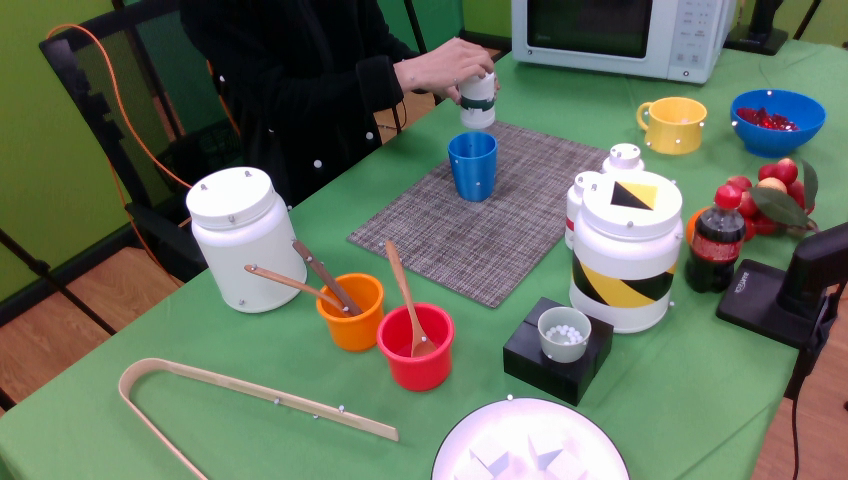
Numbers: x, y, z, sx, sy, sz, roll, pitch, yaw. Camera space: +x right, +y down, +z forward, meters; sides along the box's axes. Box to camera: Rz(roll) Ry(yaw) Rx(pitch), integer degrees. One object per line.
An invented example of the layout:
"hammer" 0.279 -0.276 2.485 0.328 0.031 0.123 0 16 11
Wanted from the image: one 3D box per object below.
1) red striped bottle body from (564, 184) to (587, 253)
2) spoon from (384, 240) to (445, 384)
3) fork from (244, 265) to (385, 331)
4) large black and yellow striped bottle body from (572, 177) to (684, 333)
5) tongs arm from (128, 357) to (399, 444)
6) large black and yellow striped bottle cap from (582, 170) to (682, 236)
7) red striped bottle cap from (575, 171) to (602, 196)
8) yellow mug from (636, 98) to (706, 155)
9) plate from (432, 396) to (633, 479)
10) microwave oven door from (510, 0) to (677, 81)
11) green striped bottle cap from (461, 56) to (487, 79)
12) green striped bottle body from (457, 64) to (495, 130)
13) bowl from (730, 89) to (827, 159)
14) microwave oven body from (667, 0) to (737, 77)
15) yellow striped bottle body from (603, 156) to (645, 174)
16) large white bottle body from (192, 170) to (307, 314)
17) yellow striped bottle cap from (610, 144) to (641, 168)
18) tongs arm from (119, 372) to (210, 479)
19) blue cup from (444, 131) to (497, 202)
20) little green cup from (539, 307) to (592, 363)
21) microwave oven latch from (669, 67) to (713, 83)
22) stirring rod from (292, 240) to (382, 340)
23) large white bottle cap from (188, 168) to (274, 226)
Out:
"red striped bottle body" 0.246 -0.041 0.910 0.063 0.120 0.062 -2 38 2
"spoon" -0.016 0.090 0.776 0.042 0.021 0.193 -17 85 -10
"fork" -0.142 0.078 0.806 0.209 0.018 0.028 30 32 -24
"large black and yellow striped bottle body" 0.262 0.017 0.788 0.131 0.185 0.130 -5 40 4
"tongs arm" -0.213 0.205 0.755 0.382 0.026 0.051 12 46 23
"large black and yellow striped bottle cap" 0.252 -0.048 0.735 0.115 0.019 0.114 -3 40 3
"red striped bottle cap" 0.242 -0.081 0.876 0.044 0.018 0.044 -5 44 5
"yellow mug" 0.453 -0.217 1.129 0.100 0.064 0.129 -34 46 -27
"plate" 0.112 0.261 0.634 0.209 0.038 0.208 -5 40 4
"microwave oven door" 0.354 -0.478 1.290 0.353 0.245 0.039 15 45 25
"green striped bottle cap" 0.085 -0.292 1.021 0.044 0.020 0.044 2 48 -2
"green striped bottle body" 0.091 -0.258 1.058 0.063 0.120 0.063 -4 47 5
"bowl" 0.615 -0.197 1.069 0.151 0.077 0.150 -5 40 5
"microwave oven body" 0.462 -0.552 1.369 0.439 0.261 0.326 15 45 26
"yellow striped bottle body" 0.313 -0.089 0.956 0.063 0.121 0.062 -5 39 4
"large white bottle body" -0.256 0.003 0.885 0.130 0.185 0.130 -4 40 4
"yellow striped bottle cap" 0.307 -0.128 0.923 0.044 0.019 0.044 -6 40 5
"tongs arm" -0.258 0.257 0.700 0.384 0.028 0.028 24 55 34
"blue cup" 0.086 -0.122 1.041 0.092 0.100 0.092 -5 41 5
"little green cup" 0.168 0.115 0.721 0.061 0.039 0.061 -4 42 4
"microwave oven latch" 0.556 -0.349 1.261 0.078 0.029 0.030 16 46 27
"stirring rod" -0.119 0.068 0.826 0.176 0.006 0.014 49 58 -4
"large white bottle cap" -0.264 -0.061 0.831 0.115 0.018 0.114 -4 40 4
